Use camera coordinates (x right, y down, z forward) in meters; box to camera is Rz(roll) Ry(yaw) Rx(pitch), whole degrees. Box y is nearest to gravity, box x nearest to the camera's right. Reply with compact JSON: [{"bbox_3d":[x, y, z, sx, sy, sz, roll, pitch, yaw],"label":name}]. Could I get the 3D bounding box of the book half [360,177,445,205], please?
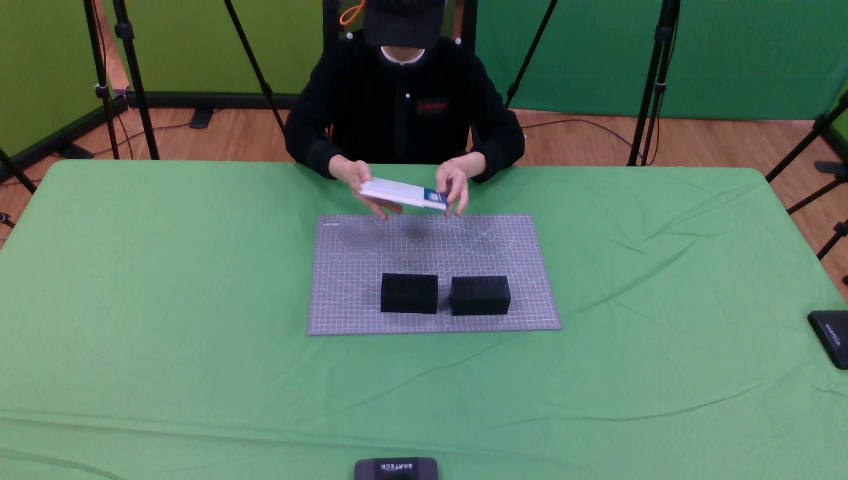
[{"bbox_3d":[-0.033,-0.090,1.087,0.143,0.007,0.209,12,10,-2],"label":"book half"}]
